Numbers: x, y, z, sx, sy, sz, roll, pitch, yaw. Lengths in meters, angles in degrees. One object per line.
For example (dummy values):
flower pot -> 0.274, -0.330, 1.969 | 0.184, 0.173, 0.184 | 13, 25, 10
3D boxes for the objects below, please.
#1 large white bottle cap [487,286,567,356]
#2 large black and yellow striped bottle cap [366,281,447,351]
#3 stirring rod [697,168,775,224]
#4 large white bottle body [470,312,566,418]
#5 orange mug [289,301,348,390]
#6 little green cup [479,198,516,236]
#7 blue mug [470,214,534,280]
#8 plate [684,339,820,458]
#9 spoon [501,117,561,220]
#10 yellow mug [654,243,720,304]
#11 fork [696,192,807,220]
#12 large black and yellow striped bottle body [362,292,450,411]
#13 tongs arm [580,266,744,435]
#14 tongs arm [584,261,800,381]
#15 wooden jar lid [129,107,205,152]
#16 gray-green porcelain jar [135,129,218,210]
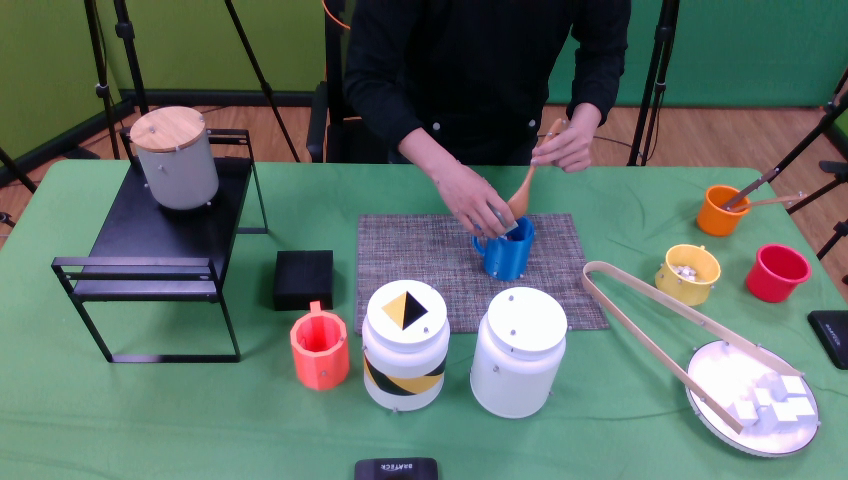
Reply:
large white bottle cap -> 0.147, 0.114, 0.869 | 0.115, 0.018, 0.114 | 3, 46, -3
large black and yellow striped bottle cap -> -0.025, 0.106, 0.865 | 0.115, 0.019, 0.114 | 2, 46, -1
stirring rod -> 0.644, -0.090, 1.252 | 0.176, 0.006, 0.014 | -40, 53, 16
large white bottle body -> 0.143, 0.173, 0.930 | 0.131, 0.185, 0.130 | 2, 46, -2
orange mug -> -0.170, 0.162, 0.976 | 0.083, 0.101, 0.125 | -7, 52, -12
little green cup -> 0.126, -0.038, 1.060 | 0.062, 0.038, 0.061 | 40, 23, -21
blue mug -> 0.141, 0.005, 1.140 | 0.116, 0.106, 0.082 | 20, 48, 14
plate -> 0.523, 0.256, 0.982 | 0.208, 0.039, 0.206 | 2, 46, -2
spoon -> 0.181, -0.117, 1.021 | 0.042, 0.194, 0.021 | 17, 18, -19
yellow mug -> 0.504, 0.054, 1.154 | 0.099, 0.064, 0.130 | 29, 50, 22
fork -> 0.655, -0.069, 1.224 | 0.207, 0.019, 0.028 | -17, 34, 45
large black and yellow striped bottle body -> -0.029, 0.163, 0.928 | 0.131, 0.185, 0.130 | 2, 47, -2
tongs arm -> 0.384, 0.173, 1.028 | 0.028, 0.028, 0.385 | -25, 46, -15
tongs arm -> 0.452, 0.137, 1.063 | 0.051, 0.027, 0.382 | -34, 50, -27
wooden jar lid -> -0.385, -0.163, 0.915 | 0.108, 0.021, 0.107 | 2, 47, -2
gray-green porcelain jar -> -0.388, -0.120, 0.960 | 0.106, 0.127, 0.105 | 3, 46, -2
